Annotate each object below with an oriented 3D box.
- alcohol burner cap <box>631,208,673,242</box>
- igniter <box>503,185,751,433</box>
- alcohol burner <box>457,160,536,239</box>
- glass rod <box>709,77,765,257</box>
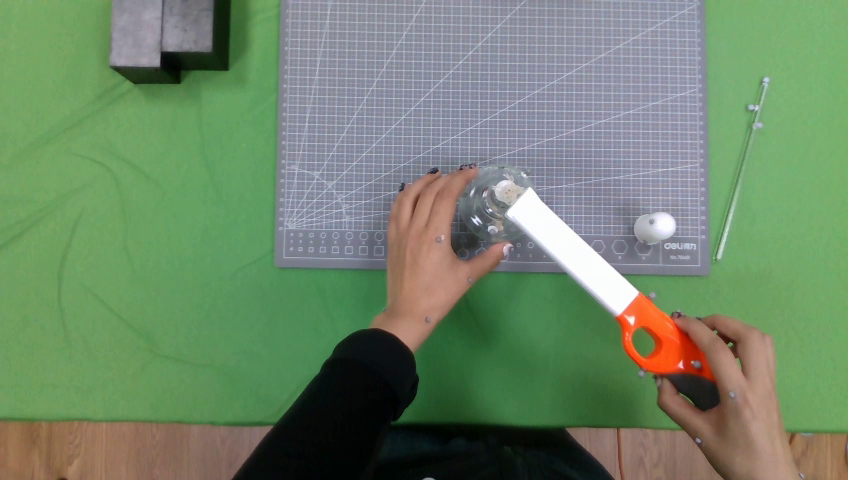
[{"bbox_3d":[0.232,-0.016,0.612,0.034,0.048,0.034,0,85,0],"label":"alcohol burner cap"},{"bbox_3d":[0.176,0.060,0.515,0.277,0.025,0.057,43,85,-2],"label":"igniter"},{"bbox_3d":[0.071,-0.041,0.576,0.078,0.119,0.077,0,84,-1],"label":"alcohol burner"},{"bbox_3d":[0.329,-0.078,0.636,0.008,0.008,0.199,18,87,0],"label":"glass rod"}]
